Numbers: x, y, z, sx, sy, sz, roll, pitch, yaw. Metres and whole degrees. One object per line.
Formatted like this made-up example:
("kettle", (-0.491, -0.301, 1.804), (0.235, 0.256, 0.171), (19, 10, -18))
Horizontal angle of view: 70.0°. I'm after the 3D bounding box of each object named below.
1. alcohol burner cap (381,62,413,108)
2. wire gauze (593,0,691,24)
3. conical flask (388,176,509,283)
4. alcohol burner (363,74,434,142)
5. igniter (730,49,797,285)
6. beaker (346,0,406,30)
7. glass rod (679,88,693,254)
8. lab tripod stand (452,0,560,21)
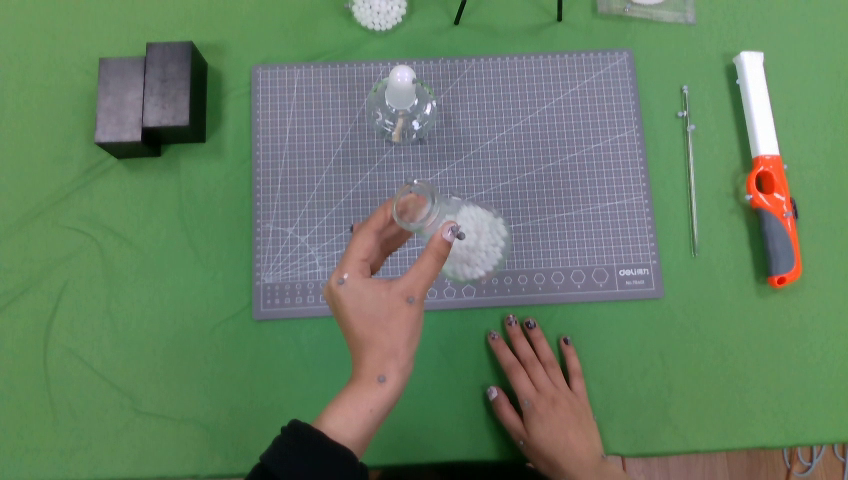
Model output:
("alcohol burner cap", (-0.025, -0.160, 0.612), (0.034, 0.048, 0.033), (3, 72, -8))
("wire gauze", (0.267, -0.327, 0.742), (0.125, 0.011, 0.121), (4, 80, -2))
("conical flask", (0.016, -0.012, 0.482), (0.075, 0.123, 0.075), (-7, 73, 24))
("alcohol burner", (-0.027, -0.151, 0.647), (0.078, 0.119, 0.077), (1, 78, -2))
("igniter", (0.385, -0.086, 0.688), (0.057, 0.025, 0.275), (-1, 79, -12))
("beaker", (-0.054, -0.294, 0.684), (0.084, 0.100, 0.074), (-44, 83, -9))
("glass rod", (0.300, -0.082, 0.695), (0.008, 0.008, 0.199), (2, 79, -1))
("lab tripod stand", (0.097, -0.312, 0.673), (0.148, 0.132, 0.148), (0, 81, 0))
